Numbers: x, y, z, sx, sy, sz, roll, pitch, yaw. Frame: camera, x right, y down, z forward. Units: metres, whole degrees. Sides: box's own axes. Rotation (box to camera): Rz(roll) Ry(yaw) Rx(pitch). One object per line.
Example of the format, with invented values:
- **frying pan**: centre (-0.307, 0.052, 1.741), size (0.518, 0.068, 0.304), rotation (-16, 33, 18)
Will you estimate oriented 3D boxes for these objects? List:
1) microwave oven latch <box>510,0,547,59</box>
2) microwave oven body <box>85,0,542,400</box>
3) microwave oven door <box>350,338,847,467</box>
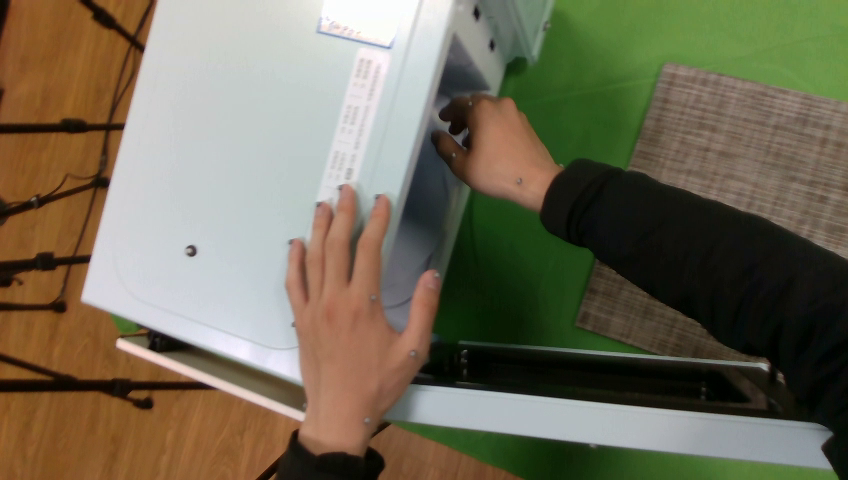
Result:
- **microwave oven latch**: centre (0.114, -0.242, 0.664), size (0.030, 0.029, 0.079), rotation (17, 94, 15)
- **microwave oven body**: centre (-0.097, -0.114, 0.621), size (0.324, 0.261, 0.442), rotation (16, 94, 15)
- **microwave oven door**: centre (0.142, 0.131, 0.543), size (0.355, 0.245, 0.039), rotation (1, 88, 16)
